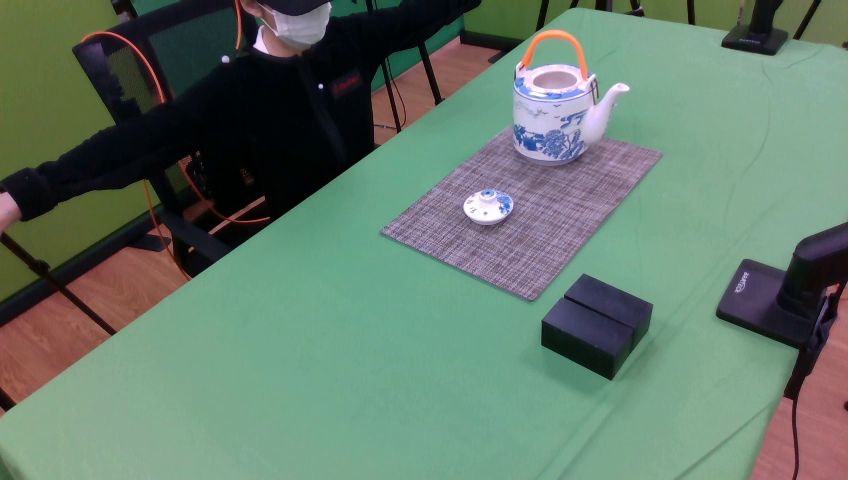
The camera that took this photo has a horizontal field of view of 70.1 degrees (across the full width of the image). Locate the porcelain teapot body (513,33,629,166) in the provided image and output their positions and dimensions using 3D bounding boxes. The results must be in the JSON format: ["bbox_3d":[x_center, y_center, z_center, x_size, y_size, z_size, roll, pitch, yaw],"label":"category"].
[{"bbox_3d":[0.256,-0.247,1.065,0.204,0.226,0.145,18,47,28],"label":"porcelain teapot body"}]

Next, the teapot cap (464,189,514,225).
[{"bbox_3d":[0.108,-0.061,1.009,0.085,0.044,0.085,-3,39,3],"label":"teapot cap"}]
